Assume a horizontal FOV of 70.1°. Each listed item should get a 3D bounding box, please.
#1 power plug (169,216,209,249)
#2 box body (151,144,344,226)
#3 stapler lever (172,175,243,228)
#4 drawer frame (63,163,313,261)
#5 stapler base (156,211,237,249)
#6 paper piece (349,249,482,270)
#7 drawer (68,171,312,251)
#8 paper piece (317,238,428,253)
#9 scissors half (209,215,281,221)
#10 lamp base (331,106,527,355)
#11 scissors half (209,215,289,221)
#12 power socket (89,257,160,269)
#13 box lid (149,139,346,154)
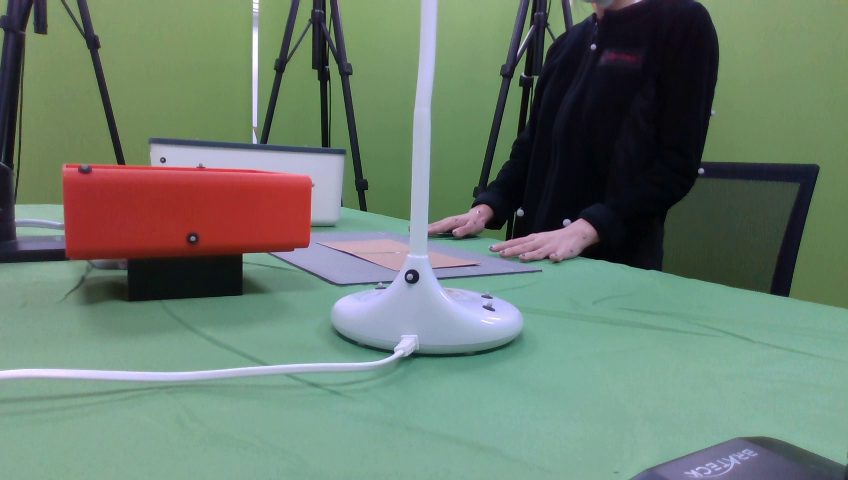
[{"bbox_3d":[-0.343,-0.007,0.889,0.035,0.052,0.072,-8,-7,-41],"label":"power plug"},{"bbox_3d":[-0.370,-0.119,1.264,0.366,0.160,0.253,-1,8,-24],"label":"box body"},{"bbox_3d":[-0.217,-0.041,0.618,0.027,0.040,0.118,19,11,-2],"label":"stapler lever"},{"bbox_3d":[-0.248,-0.036,0.626,0.215,0.082,0.200,-3,9,-31],"label":"drawer frame"},{"bbox_3d":[-0.227,-0.017,0.624,0.041,0.024,0.130,19,9,-2],"label":"stapler base"},{"bbox_3d":[-0.013,0.026,0.842,0.139,0.008,0.135,0,11,-32],"label":"paper piece"},{"bbox_3d":[-0.247,-0.036,0.629,0.213,0.073,0.193,-3,9,-30],"label":"drawer"},{"bbox_3d":[-0.083,0.008,0.952,0.136,0.004,0.134,-2,9,-31],"label":"paper piece"},{"bbox_3d":[-0.364,-0.044,1.215,0.174,0.013,0.040,1,4,26],"label":"scissors half"},{"bbox_3d":[0.006,-0.012,0.478,0.161,0.180,0.179,2,10,2],"label":"lamp base"},{"bbox_3d":[-0.358,-0.044,1.235,0.175,0.013,0.040,1,-2,8],"label":"scissors half"},{"bbox_3d":[-0.409,0.004,0.793,0.072,0.032,0.225,-2,8,-38],"label":"power socket"},{"bbox_3d":[-0.365,-0.191,1.255,0.373,0.015,0.262,-1,8,-24],"label":"box lid"}]
